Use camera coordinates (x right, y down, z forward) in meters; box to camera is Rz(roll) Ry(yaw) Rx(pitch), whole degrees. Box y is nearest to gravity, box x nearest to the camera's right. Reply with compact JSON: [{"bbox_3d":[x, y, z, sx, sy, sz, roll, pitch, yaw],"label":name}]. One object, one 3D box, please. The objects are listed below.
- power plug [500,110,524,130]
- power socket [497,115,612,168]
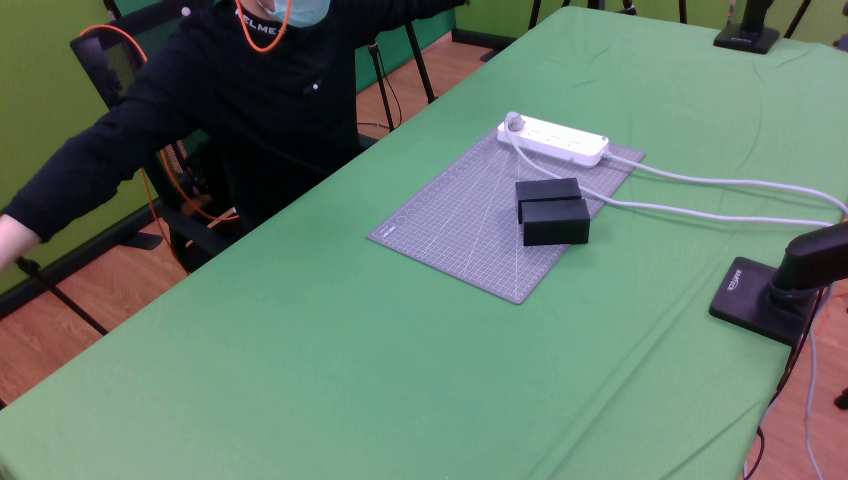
[{"bbox_3d":[0.160,-0.217,1.149,0.073,0.053,0.035,-33,47,-27],"label":"power plug"},{"bbox_3d":[0.240,-0.191,1.143,0.225,0.033,0.072,23,49,30],"label":"power socket"}]
